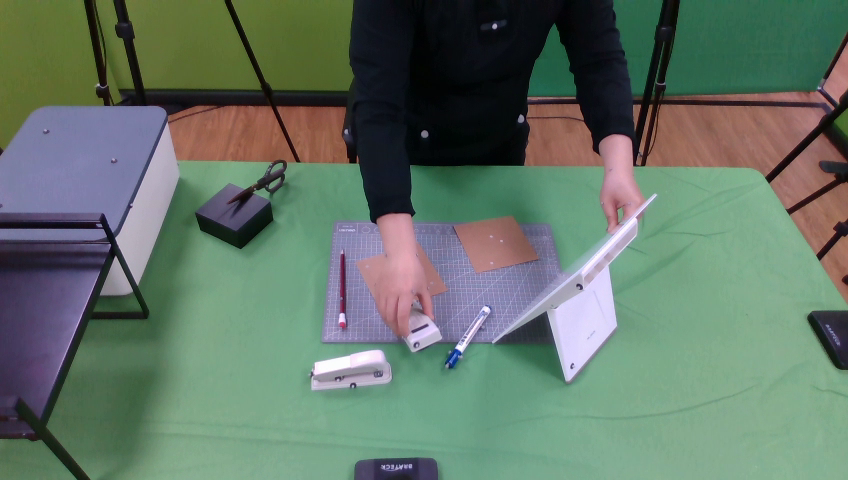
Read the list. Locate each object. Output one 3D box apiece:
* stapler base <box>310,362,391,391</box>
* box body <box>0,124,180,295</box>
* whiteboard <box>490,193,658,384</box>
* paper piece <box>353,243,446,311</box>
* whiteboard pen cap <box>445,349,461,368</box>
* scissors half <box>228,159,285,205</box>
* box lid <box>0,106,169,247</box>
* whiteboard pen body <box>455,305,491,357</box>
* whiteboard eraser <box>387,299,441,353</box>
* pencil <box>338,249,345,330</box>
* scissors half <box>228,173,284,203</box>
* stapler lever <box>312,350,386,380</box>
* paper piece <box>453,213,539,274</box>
[{"bbox_3d":[-0.119,0.215,0.981,0.131,0.024,0.041,-5,44,-7],"label":"stapler base"},{"bbox_3d":[-0.628,-0.075,1.122,0.254,0.161,0.361,1,46,-4],"label":"box body"},{"bbox_3d":[0.277,0.101,0.969,0.217,0.306,0.143,-36,79,-33],"label":"whiteboard"},{"bbox_3d":[-0.046,0.066,1.137,0.136,0.009,0.137,-14,47,-22],"label":"paper piece"},{"bbox_3d":[0.048,0.196,1.011,0.018,0.018,0.033,24,51,17],"label":"whiteboard pen cap"},{"bbox_3d":[-0.335,-0.116,1.217,0.013,0.040,0.174,26,46,12],"label":"scissors half"},{"bbox_3d":[-0.624,-0.125,1.067,0.263,0.015,0.369,0,46,-3],"label":"box lid"},{"bbox_3d":[0.079,0.163,1.047,0.017,0.017,0.140,25,51,19],"label":"whiteboard pen body"},{"bbox_3d":[-0.018,0.147,1.020,0.055,0.042,0.112,-19,31,-17],"label":"whiteboard eraser"},{"bbox_3d":[-0.153,0.085,1.107,0.012,0.012,0.192,-3,45,-7],"label":"pencil"},{"bbox_3d":[-0.339,-0.101,1.229,0.013,0.040,0.175,22,28,15],"label":"scissors half"},{"bbox_3d":[-0.120,0.198,0.963,0.118,0.040,0.026,-4,44,-8],"label":"stapler lever"},{"bbox_3d":[0.143,0.003,1.212,0.135,0.004,0.135,-11,51,-15],"label":"paper piece"}]
